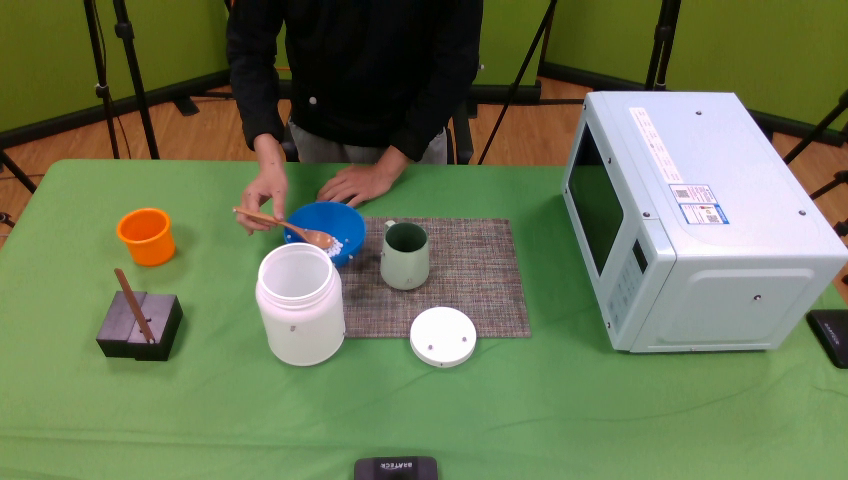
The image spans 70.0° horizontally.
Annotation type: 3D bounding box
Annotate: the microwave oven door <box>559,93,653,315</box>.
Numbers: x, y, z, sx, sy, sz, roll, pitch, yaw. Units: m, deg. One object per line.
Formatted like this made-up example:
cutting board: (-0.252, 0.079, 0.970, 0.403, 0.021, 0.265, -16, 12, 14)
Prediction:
microwave oven door: (0.327, -0.074, 1.123, 0.039, 0.245, 0.353, -1, 46, -5)

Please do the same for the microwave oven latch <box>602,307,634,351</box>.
microwave oven latch: (0.332, 0.153, 1.044, 0.030, 0.029, 0.078, -1, 45, -4)

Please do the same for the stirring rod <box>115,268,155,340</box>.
stirring rod: (-0.478, 0.103, 0.999, 0.014, 0.006, 0.175, 7, 32, -49)

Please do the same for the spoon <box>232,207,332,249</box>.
spoon: (-0.256, -0.026, 1.107, 0.195, 0.021, 0.041, 25, 41, -31)

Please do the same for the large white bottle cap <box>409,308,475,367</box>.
large white bottle cap: (0.031, 0.165, 1.041, 0.115, 0.018, 0.114, 2, 47, -2)

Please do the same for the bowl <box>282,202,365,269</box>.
bowl: (-0.186, 0.006, 1.136, 0.151, 0.077, 0.150, 3, 45, -3)

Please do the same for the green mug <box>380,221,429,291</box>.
green mug: (-0.043, 0.020, 1.116, 0.092, 0.105, 0.124, -20, 50, -21)

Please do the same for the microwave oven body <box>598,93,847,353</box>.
microwave oven body: (0.475, -0.041, 1.109, 0.326, 0.261, 0.438, -1, 45, -4)

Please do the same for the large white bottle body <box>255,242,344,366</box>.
large white bottle body: (-0.196, 0.102, 0.967, 0.131, 0.185, 0.130, 2, 49, -2)
